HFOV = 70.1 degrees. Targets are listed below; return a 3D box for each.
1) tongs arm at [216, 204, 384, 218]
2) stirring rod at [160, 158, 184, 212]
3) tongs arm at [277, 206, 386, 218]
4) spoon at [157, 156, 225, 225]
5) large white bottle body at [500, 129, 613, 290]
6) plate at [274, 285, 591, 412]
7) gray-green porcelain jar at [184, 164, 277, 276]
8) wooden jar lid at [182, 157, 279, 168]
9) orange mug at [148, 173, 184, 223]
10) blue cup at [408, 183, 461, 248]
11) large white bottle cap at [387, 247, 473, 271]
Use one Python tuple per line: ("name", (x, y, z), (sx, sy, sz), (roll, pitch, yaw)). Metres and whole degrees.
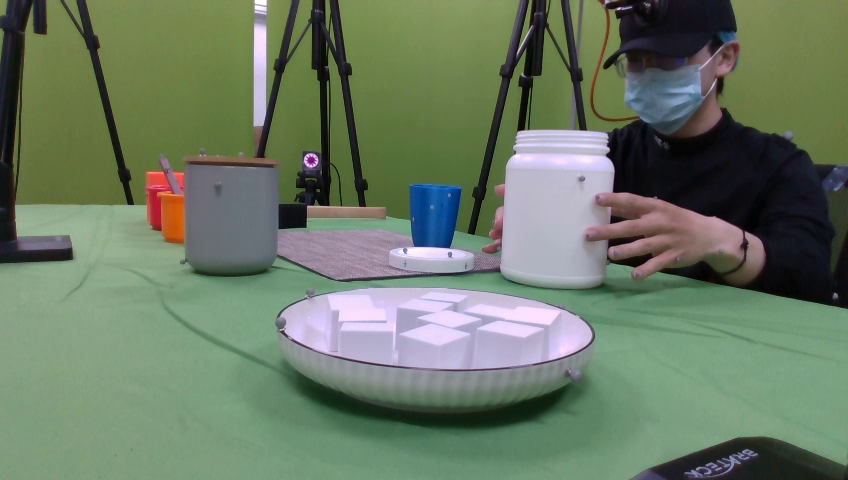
("tongs arm", (-0.288, -0.069, 1.435), (0.389, 0.027, 0.028), (0, -1, -17))
("stirring rod", (-0.391, -0.070, 0.972), (0.014, 0.006, 0.175), (-1, 50, -49))
("tongs arm", (-0.251, -0.063, 1.360), (0.387, 0.026, 0.050), (-1, 3, -31))
("spoon", (-0.425, -0.094, 1.117), (0.041, 0.022, 0.194), (5, 51, 29))
("large white bottle body", (0.163, -0.041, 0.744), (0.131, 0.184, 0.130), (2, 7, 0))
("plate", (0.005, 0.069, 0.408), (0.208, 0.039, 0.207), (2, 7, 0))
("gray-green porcelain jar", (-0.230, -0.025, 0.722), (0.106, 0.126, 0.106), (3, 7, 0))
("wooden jar lid", (-0.227, -0.086, 0.714), (0.108, 0.020, 0.108), (1, 6, 0))
("orange mug", (-0.490, -0.087, 1.222), (0.127, 0.101, 0.083), (-9, 13, -38))
("blue cup", (0.015, -0.038, 0.970), (0.093, 0.100, 0.092), (3, 9, 0))
("large white bottle cap", (0.009, 0.025, 0.804), (0.115, 0.018, 0.115), (2, 7, 0))
